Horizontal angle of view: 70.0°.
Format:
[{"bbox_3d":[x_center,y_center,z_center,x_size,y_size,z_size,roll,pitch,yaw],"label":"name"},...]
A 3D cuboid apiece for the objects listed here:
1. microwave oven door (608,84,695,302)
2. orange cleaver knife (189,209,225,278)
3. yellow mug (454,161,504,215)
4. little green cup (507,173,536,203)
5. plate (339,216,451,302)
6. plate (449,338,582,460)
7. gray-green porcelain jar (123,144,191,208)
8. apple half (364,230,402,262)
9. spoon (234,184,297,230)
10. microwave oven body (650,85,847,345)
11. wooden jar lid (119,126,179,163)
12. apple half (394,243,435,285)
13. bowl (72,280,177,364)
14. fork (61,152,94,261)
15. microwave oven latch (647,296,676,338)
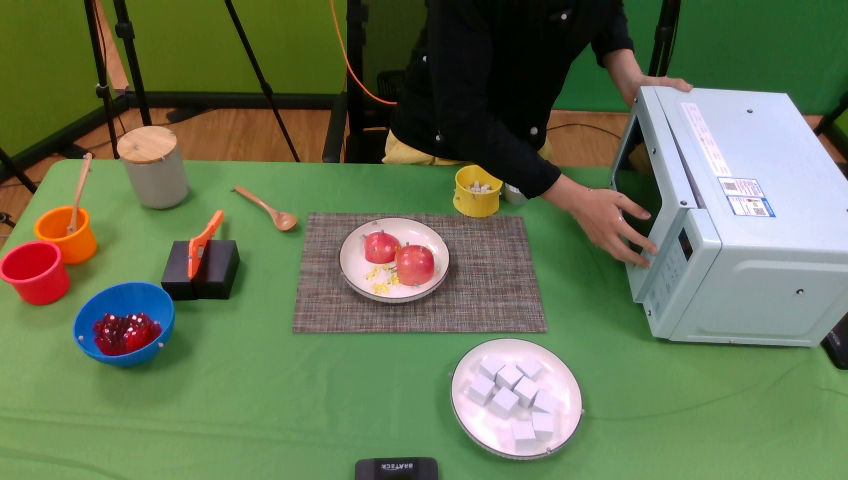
[{"bbox_3d":[0.416,-0.096,1.138,0.039,0.245,0.353,4,46,1],"label":"microwave oven door"},{"bbox_3d":[-0.400,0.002,1.122,0.012,0.077,0.210,4,23,-4],"label":"orange cleaver knife"},{"bbox_3d":[0.118,-0.118,1.283,0.100,0.064,0.130,8,43,5],"label":"yellow mug"},{"bbox_3d":[0.206,-0.111,1.301,0.061,0.039,0.061,3,46,-3],"label":"little green cup"},{"bbox_3d":[-0.054,0.038,1.138,0.209,0.038,0.208,2,46,-2],"label":"plate"},{"bbox_3d":[0.141,0.251,0.955,0.208,0.039,0.206,2,47,-2],"label":"plate"},{"bbox_3d":[-0.531,-0.137,1.214,0.106,0.127,0.105,2,47,-2],"label":"gray-green porcelain jar"},{"bbox_3d":[-0.079,0.004,1.159,0.081,0.033,0.081,2,49,-2],"label":"apple half"},{"bbox_3d":[-0.327,-0.073,1.240,0.193,0.022,0.041,34,70,25],"label":"spoon"},{"bbox_3d":[0.569,-0.054,1.116,0.326,0.261,0.439,2,46,-1],"label":"microwave oven body"},{"bbox_3d":[-0.528,-0.181,1.167,0.108,0.021,0.107,3,47,-4],"label":"wooden jar lid"},{"bbox_3d":[-0.016,0.037,1.120,0.075,0.053,0.080,1,46,-6],"label":"apple half"},{"bbox_3d":[-0.472,0.147,0.982,0.151,0.077,0.150,2,46,-2],"label":"bowl"},{"bbox_3d":[-0.638,-0.063,1.120,0.028,0.018,0.207,12,90,7],"label":"fork"},{"bbox_3d":[0.413,0.133,1.060,0.030,0.029,0.078,4,46,1],"label":"microwave oven latch"}]
